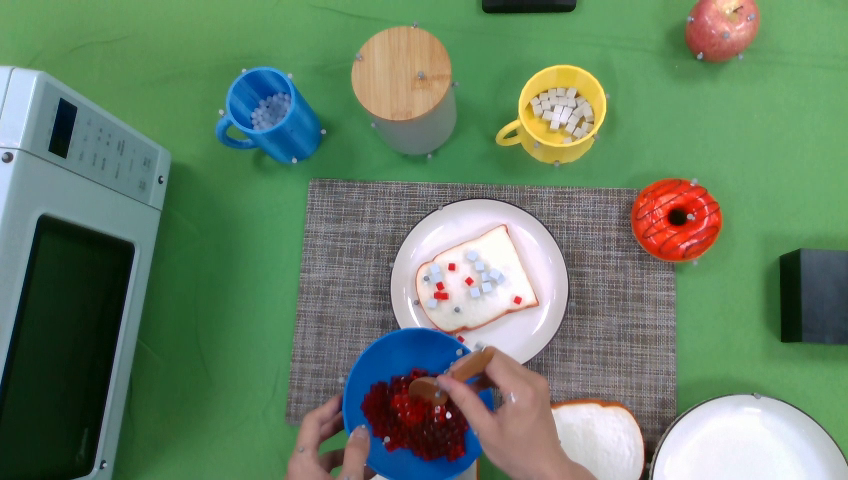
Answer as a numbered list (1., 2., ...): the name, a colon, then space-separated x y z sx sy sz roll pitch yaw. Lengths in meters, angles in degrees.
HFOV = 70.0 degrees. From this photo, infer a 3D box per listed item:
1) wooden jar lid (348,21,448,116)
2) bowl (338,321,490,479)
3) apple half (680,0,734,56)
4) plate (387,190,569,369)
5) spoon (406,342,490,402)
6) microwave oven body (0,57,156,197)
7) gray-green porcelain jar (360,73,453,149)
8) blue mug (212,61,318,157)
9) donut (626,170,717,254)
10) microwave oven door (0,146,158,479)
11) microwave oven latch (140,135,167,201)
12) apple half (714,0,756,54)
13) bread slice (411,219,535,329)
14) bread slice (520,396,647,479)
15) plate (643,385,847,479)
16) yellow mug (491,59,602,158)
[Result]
1. wooden jar lid: -0.028 -0.182 0.653 0.108 0.021 0.108 -1 78 7
2. bowl: -0.015 0.164 0.617 0.152 0.077 0.150 5 68 -12
3. apple half: 0.323 -0.245 0.714 0.033 0.081 0.081 -30 78 -4
4. plate: 0.062 0.046 0.710 0.207 0.039 0.207 -1 81 6
5. spoon: 0.022 0.125 0.560 0.041 0.194 0.021 32 63 -2
6. microwave oven body: -0.524 0.052 0.659 0.325 0.261 0.440 6 82 7
7. gray-green porcelain jar: -0.020 -0.171 0.714 0.106 0.127 0.105 -1 80 6
8. blue mug: -0.199 -0.150 0.740 0.116 0.106 0.082 -23 78 2
9. donut: 0.282 -0.032 0.695 0.099 0.048 0.098 -1 81 6
10. microwave oven door: -0.386 0.107 0.630 0.039 0.245 0.354 5 81 8
11. microwave oven latch: -0.347 -0.091 0.761 0.030 0.029 0.079 8 82 7
12. apple half: 0.356 -0.265 0.715 0.053 0.075 0.080 -29 74 -5
13. bread slice: 0.053 0.047 0.713 0.131 0.019 0.104 -23 79 1
14. bread slice: 0.174 0.222 0.646 0.135 0.018 0.106 -2 76 -14
15. plate: 0.339 0.260 0.648 0.209 0.038 0.208 -1 80 7
16. yellow mug: 0.142 -0.150 0.723 0.131 0.064 0.099 -21 79 3
